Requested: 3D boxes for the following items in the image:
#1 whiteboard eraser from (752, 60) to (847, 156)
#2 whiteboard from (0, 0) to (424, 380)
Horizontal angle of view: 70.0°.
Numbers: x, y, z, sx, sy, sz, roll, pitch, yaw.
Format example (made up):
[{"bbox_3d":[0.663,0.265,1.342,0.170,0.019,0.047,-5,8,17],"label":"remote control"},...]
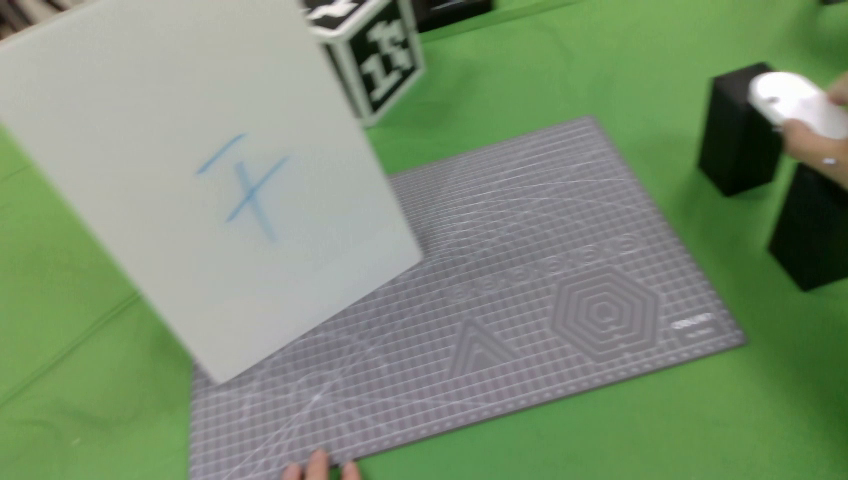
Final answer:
[{"bbox_3d":[0.287,-0.102,0.454,0.041,0.019,0.100,-17,51,-3],"label":"whiteboard eraser"},{"bbox_3d":[-0.171,-0.077,0.524,0.217,0.308,0.142,-32,32,-12],"label":"whiteboard"}]
